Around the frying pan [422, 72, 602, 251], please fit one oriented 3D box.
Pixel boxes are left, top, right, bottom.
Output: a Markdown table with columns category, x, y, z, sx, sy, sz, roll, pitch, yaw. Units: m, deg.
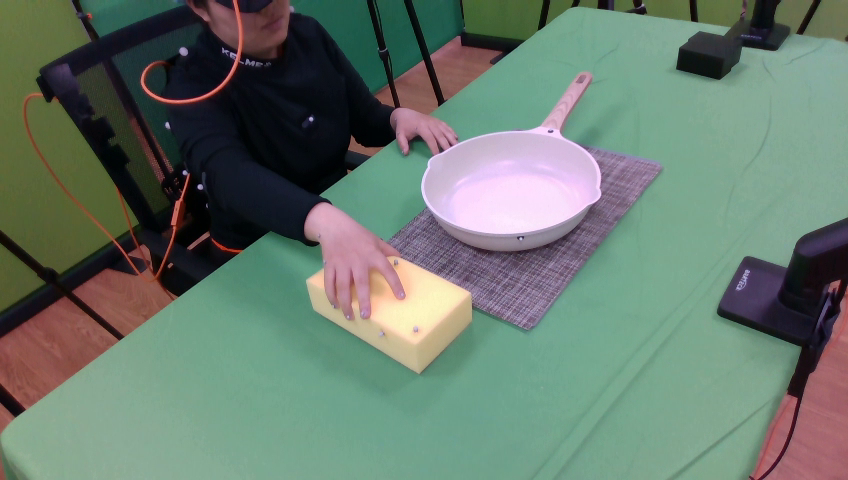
| category | x | y | z | sx | sy | sz | roll | pitch | yaw |
| --- | --- | --- | --- | --- | --- | --- | --- | --- | --- |
| frying pan | 0.199 | -0.155 | 1.062 | 0.304 | 0.103 | 0.488 | 19 | 56 | 28 |

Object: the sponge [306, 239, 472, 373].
| category | x | y | z | sx | sy | sz | roll | pitch | yaw |
| --- | --- | --- | --- | --- | --- | --- | --- | --- | --- |
| sponge | -0.050 | 0.087 | 0.855 | 0.205 | 0.061 | 0.118 | 24 | 47 | 30 |
